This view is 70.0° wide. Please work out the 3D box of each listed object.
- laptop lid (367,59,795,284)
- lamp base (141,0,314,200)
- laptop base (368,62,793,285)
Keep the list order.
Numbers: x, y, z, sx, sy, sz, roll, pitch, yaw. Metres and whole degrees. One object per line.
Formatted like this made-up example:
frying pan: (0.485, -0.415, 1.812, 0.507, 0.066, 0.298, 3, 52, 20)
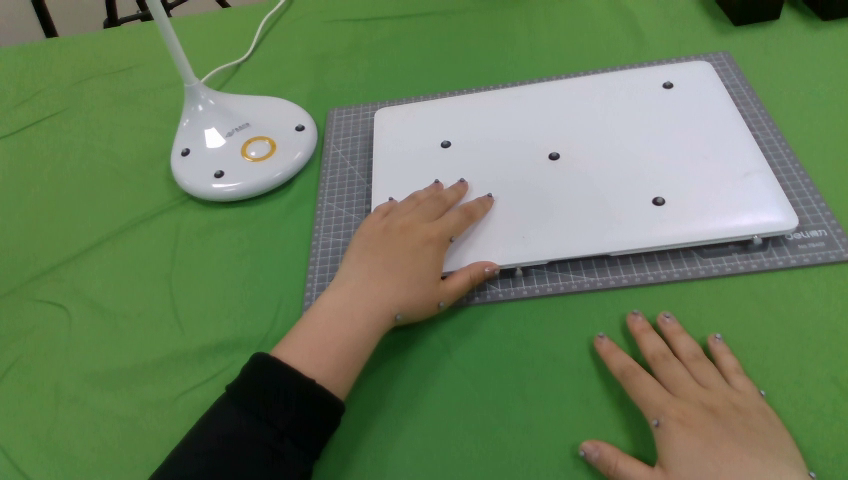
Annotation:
laptop lid: (0.120, -0.075, 0.566, 0.356, 0.013, 0.239, -6, 51, 6)
lamp base: (-0.220, -0.157, 0.612, 0.177, 0.182, 0.160, 25, 58, 32)
laptop base: (0.122, -0.070, 0.576, 0.354, 0.023, 0.233, -7, 52, 5)
